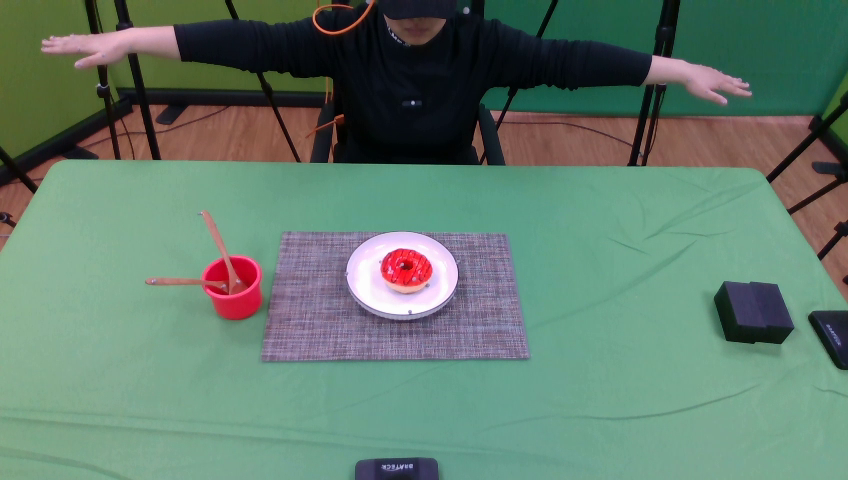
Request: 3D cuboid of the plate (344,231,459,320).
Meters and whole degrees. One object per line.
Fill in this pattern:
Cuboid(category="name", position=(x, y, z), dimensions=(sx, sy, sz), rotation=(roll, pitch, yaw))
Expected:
Cuboid(category="plate", position=(-0.042, 0.068, 1.115), dimensions=(0.209, 0.038, 0.208), rotation=(2, 46, -2))

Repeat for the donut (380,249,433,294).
Cuboid(category="donut", position=(-0.032, 0.056, 1.111), dimensions=(0.099, 0.048, 0.098), rotation=(4, 43, -3))

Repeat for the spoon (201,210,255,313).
Cuboid(category="spoon", position=(-0.343, 0.037, 1.052), dimensions=(0.041, 0.021, 0.194), rotation=(-23, 96, -32))

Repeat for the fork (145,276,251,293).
Cuboid(category="fork", position=(-0.368, 0.073, 1.006), dimensions=(0.018, 0.208, 0.028), rotation=(-24, 72, 23))
